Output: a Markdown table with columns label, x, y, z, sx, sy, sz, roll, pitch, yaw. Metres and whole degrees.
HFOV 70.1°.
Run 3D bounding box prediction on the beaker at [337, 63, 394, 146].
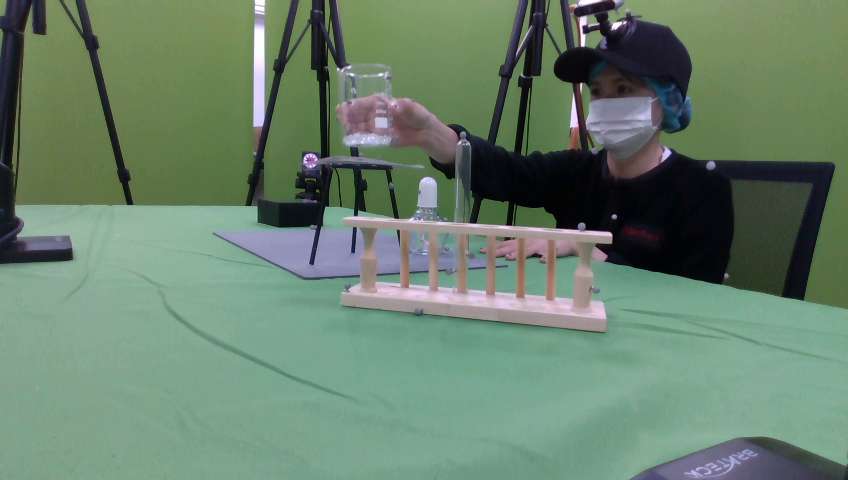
| label | x | y | z | sx | sy | sz | roll | pitch | yaw |
| --- | --- | --- | --- | --- | --- | --- | --- | --- | --- |
| beaker | -0.078 | -0.175 | 0.796 | 0.073 | 0.100 | 0.084 | 2 | 7 | 38 |

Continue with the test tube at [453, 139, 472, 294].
| label | x | y | z | sx | sy | sz | roll | pitch | yaw |
| --- | --- | --- | --- | --- | --- | --- | --- | --- | --- |
| test tube | 0.037 | -0.021 | 0.584 | 0.017 | 0.150 | 0.017 | 1 | 7 | 0 |

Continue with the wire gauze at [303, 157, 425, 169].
| label | x | y | z | sx | sy | sz | roll | pitch | yaw |
| --- | --- | --- | --- | --- | --- | --- | --- | --- | --- |
| wire gauze | -0.082 | -0.102 | 0.799 | 0.126 | 0.011 | 0.121 | -1 | 7 | -30 |

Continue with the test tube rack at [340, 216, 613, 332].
| label | x | y | z | sx | sy | sz | roll | pitch | yaw |
| --- | --- | --- | --- | --- | --- | --- | --- | --- | --- |
| test tube rack | 0.048 | 0.026 | 0.568 | 0.242 | 0.085 | 0.067 | 4 | 7 | 13 |

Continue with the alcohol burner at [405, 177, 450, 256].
| label | x | y | z | sx | sy | sz | roll | pitch | yaw |
| --- | --- | --- | --- | --- | --- | --- | --- | --- | --- |
| alcohol burner | 0.004 | -0.036 | 0.918 | 0.078 | 0.119 | 0.078 | 3 | 6 | 0 |

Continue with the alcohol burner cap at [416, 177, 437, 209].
| label | x | y | z | sx | sy | sz | roll | pitch | yaw |
| --- | --- | --- | --- | --- | --- | --- | --- | --- | --- |
| alcohol burner cap | 0.005 | -0.072 | 0.914 | 0.034 | 0.048 | 0.034 | 3 | 9 | 0 |

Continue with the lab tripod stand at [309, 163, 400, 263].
| label | x | y | z | sx | sy | sz | roll | pitch | yaw |
| --- | --- | --- | --- | --- | --- | --- | --- | --- | --- |
| lab tripod stand | -0.091 | -0.037 | 0.813 | 0.148 | 0.131 | 0.148 | 1 | 6 | 0 |
